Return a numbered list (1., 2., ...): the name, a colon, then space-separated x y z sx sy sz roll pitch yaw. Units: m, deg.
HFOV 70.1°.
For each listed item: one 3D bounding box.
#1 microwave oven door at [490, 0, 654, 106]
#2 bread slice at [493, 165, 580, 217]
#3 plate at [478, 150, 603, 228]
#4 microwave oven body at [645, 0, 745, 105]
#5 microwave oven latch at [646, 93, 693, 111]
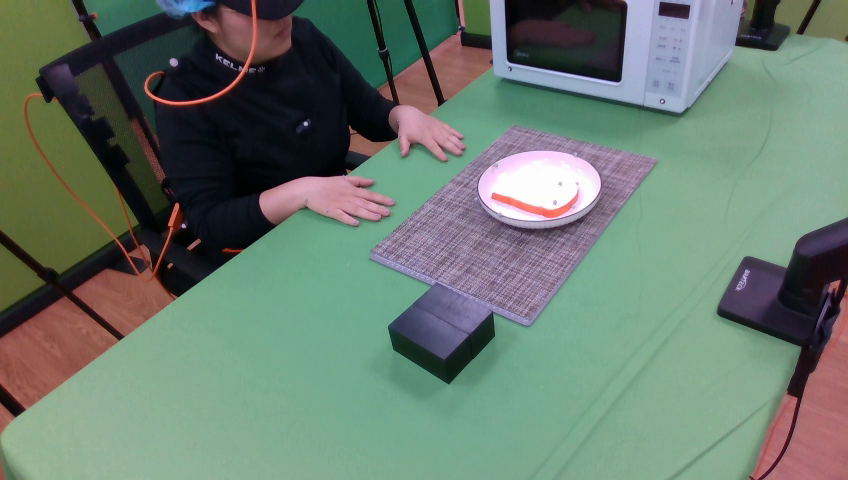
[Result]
1. microwave oven door: 0.293 -0.420 1.228 0.353 0.245 0.039 22 49 32
2. bread slice: 0.200 -0.084 1.034 0.130 0.019 0.105 23 50 34
3. plate: 0.198 -0.084 1.030 0.209 0.038 0.208 -5 40 5
4. microwave oven body: 0.416 -0.486 1.290 0.438 0.261 0.327 21 50 33
5. microwave oven latch: 0.477 -0.273 1.177 0.078 0.029 0.030 22 50 33
